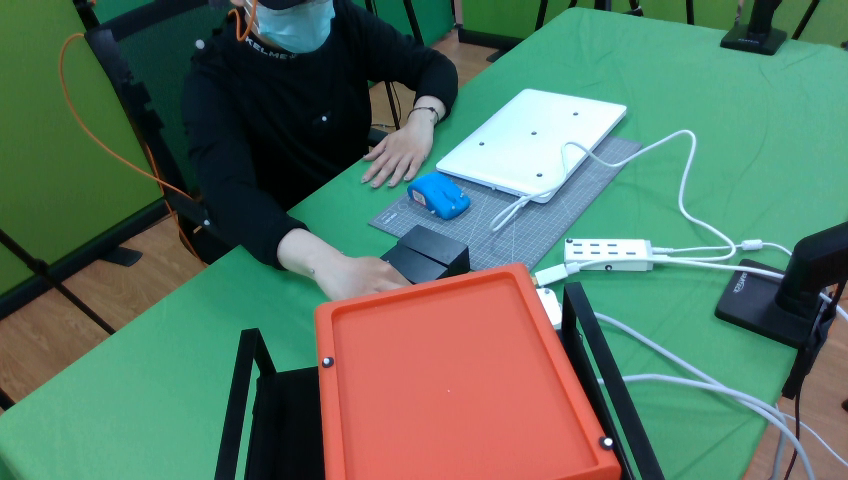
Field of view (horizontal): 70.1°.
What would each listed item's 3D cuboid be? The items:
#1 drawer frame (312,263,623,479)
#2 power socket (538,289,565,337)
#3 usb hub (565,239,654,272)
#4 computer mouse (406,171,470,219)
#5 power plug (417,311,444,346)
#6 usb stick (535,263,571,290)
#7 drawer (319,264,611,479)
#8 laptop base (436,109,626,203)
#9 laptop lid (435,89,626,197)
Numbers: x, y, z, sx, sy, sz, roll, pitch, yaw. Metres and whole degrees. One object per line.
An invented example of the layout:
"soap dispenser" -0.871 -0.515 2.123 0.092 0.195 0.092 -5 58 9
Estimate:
"drawer frame" 0.021 0.130 0.494 0.202 0.083 0.212 -11 41 -6
"power socket" 0.081 0.111 0.822 0.227 0.033 0.072 -6 40 0
"usb hub" 0.275 0.022 0.906 0.125 0.025 0.049 1 41 9
"computer mouse" 0.024 -0.082 1.050 0.063 0.041 0.116 -29 49 -27
"power plug" 0.006 0.123 0.786 0.035 0.053 0.072 1 40 9
"usb stick" 0.181 0.057 0.876 0.059 0.027 0.021 -32 90 -6
"drawer" 0.020 0.129 0.497 0.195 0.073 0.210 -11 41 -5
"laptop base" 0.214 -0.192 1.172 0.233 0.023 0.355 19 46 32
"laptop lid" 0.211 -0.202 1.165 0.240 0.013 0.358 21 47 32
